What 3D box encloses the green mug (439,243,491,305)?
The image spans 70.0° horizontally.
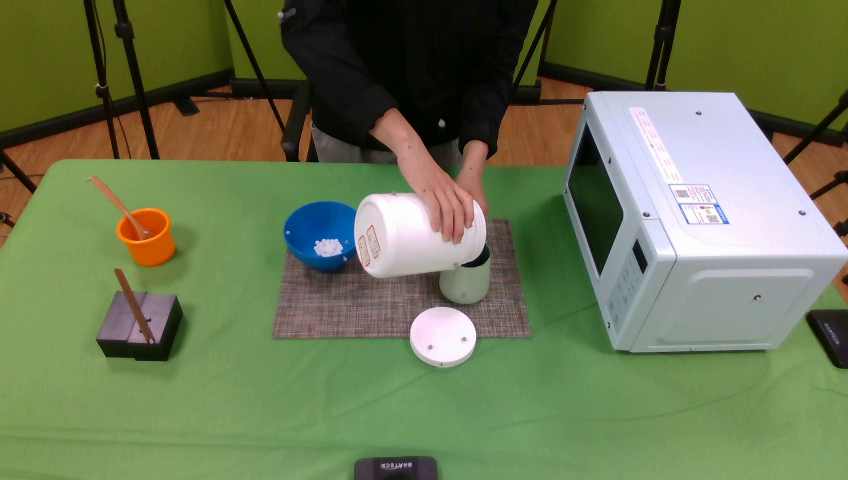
[{"bbox_3d":[0.072,0.044,1.101,0.092,0.105,0.124,-6,47,-9],"label":"green mug"}]

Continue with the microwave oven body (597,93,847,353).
[{"bbox_3d":[0.475,-0.041,1.109,0.326,0.261,0.438,-1,45,-4],"label":"microwave oven body"}]

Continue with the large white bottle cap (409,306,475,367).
[{"bbox_3d":[0.031,0.164,1.040,0.115,0.018,0.114,3,50,-3],"label":"large white bottle cap"}]

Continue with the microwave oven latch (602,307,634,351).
[{"bbox_3d":[0.332,0.153,1.044,0.030,0.029,0.078,0,45,-4],"label":"microwave oven latch"}]

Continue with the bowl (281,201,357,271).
[{"bbox_3d":[-0.187,0.005,1.137,0.151,0.077,0.150,3,46,-3],"label":"bowl"}]

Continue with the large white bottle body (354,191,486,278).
[{"bbox_3d":[-0.004,-0.012,0.970,0.185,0.131,0.129,-5,44,-31],"label":"large white bottle body"}]

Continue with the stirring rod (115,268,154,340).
[{"bbox_3d":[-0.479,0.103,0.999,0.014,0.006,0.175,7,32,-49],"label":"stirring rod"}]

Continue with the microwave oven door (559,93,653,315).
[{"bbox_3d":[0.327,-0.075,1.123,0.039,0.245,0.353,-1,46,-5],"label":"microwave oven door"}]

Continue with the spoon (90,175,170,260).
[{"bbox_3d":[-0.539,-0.042,1.111,0.021,0.194,0.041,-13,27,53],"label":"spoon"}]
